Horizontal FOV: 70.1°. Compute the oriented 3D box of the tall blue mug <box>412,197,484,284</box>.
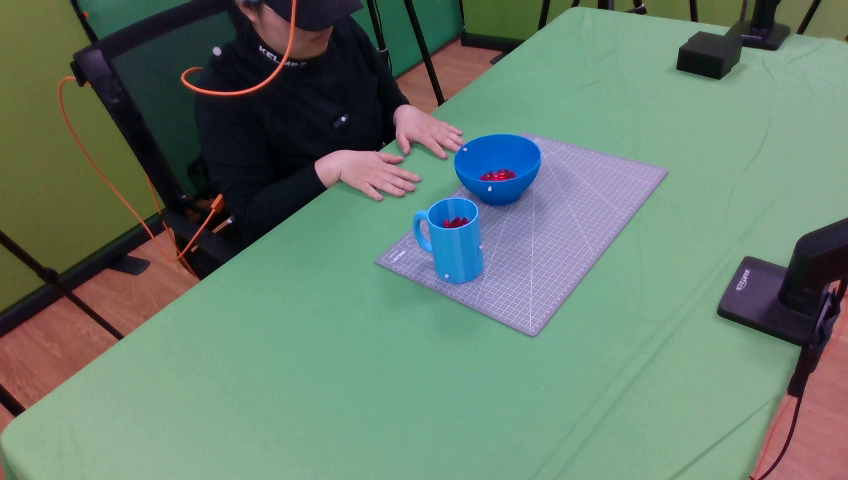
[{"bbox_3d":[0.033,0.002,0.903,0.107,0.108,0.077,-3,41,9],"label":"tall blue mug"}]

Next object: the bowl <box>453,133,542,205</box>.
[{"bbox_3d":[0.129,-0.112,1.045,0.151,0.077,0.150,-5,40,5],"label":"bowl"}]
